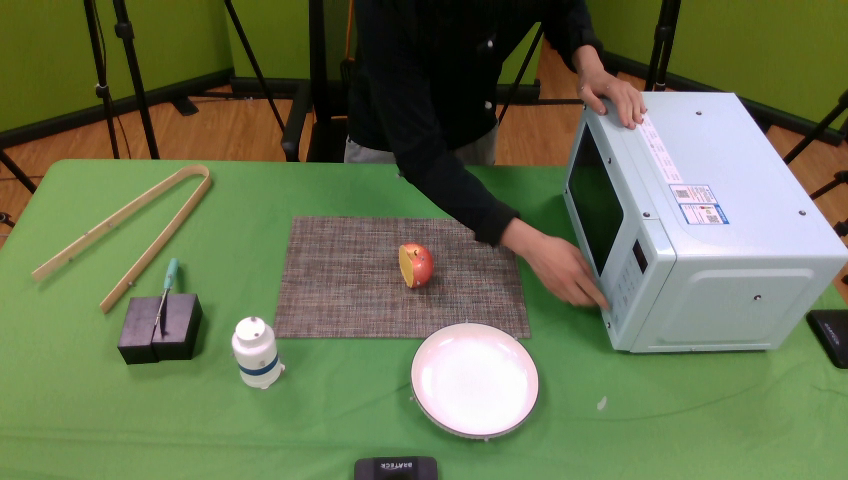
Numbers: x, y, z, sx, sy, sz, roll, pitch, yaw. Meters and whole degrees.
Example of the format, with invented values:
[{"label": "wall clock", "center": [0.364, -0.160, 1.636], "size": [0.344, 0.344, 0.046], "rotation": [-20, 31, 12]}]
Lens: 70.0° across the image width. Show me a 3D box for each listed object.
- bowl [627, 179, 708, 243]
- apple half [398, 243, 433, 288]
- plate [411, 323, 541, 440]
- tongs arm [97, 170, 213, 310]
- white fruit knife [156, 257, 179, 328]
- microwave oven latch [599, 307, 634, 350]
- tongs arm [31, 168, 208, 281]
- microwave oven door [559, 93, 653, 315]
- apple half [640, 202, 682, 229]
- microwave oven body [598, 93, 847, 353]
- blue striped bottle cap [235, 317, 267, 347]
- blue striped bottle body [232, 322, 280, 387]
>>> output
[{"label": "bowl", "center": [0.455, -0.047, 1.168], "size": [0.151, 0.077, 0.150], "rotation": [7, 36, -5]}, {"label": "apple half", "center": [-0.012, 0.046, 1.115], "size": [0.053, 0.075, 0.080], "rotation": [-11, 44, -20]}, {"label": "plate", "center": [0.082, 0.228, 0.976], "size": [0.208, 0.039, 0.206], "rotation": [2, 45, -2]}, {"label": "tongs arm", "center": [-0.503, -0.013, 1.166], "size": [0.028, 0.028, 0.386], "rotation": [9, 43, 12]}, {"label": "white fruit knife", "center": [-0.440, 0.085, 1.037], "size": [0.016, 0.027, 0.206], "rotation": [10, 26, -19]}, {"label": "microwave oven latch", "center": [0.330, 0.152, 1.045], "size": [0.030, 0.029, 0.078], "rotation": [-4, 46, -7]}, {"label": "tongs arm", "center": [-0.578, -0.039, 1.185], "size": [0.050, 0.026, 0.384], "rotation": [21, 46, 19]}, {"label": "microwave oven door", "center": [0.327, -0.074, 1.123], "size": [0.039, 0.245, 0.353], "rotation": [-1, 46, -5]}, {"label": "apple half", "center": [0.455, -0.054, 1.161], "size": [0.081, 0.033, 0.081], "rotation": [-4, 34, 3]}, {"label": "microwave oven body", "center": [0.476, -0.041, 1.110], "size": [0.326, 0.261, 0.438], "rotation": [-1, 45, -4]}, {"label": "blue striped bottle cap", "center": [-0.260, 0.137, 0.907], "size": [0.044, 0.021, 0.044], "rotation": [2, 42, -2]}, {"label": "blue striped bottle body", "center": [-0.262, 0.171, 0.944], "size": [0.063, 0.121, 0.062], "rotation": [2, 46, -2]}]
